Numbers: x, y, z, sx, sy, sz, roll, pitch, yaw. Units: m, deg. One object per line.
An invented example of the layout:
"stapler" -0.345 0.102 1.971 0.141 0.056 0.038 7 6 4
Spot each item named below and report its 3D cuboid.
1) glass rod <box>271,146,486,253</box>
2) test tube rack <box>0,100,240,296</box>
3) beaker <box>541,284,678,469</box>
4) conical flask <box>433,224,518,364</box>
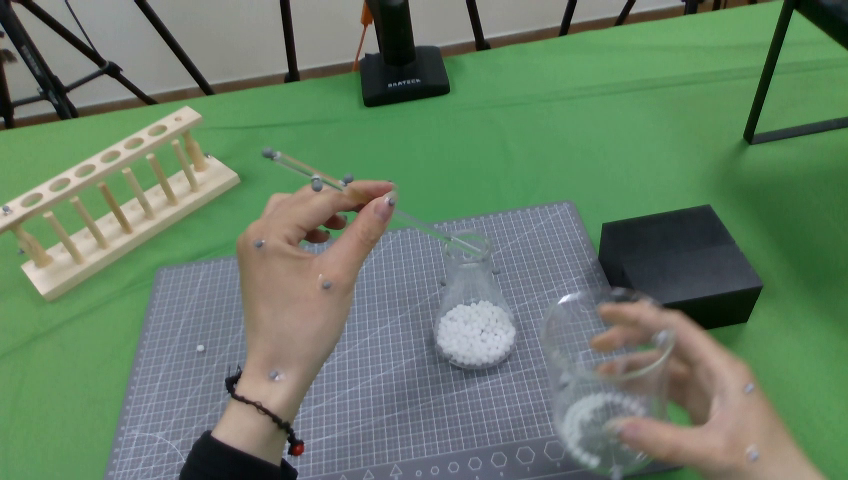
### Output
"glass rod" -0.017 -0.020 0.398 0.008 0.202 0.008 -17 63 37
"test tube rack" -0.336 -0.053 0.673 0.066 0.086 0.242 33 59 33
"beaker" 0.113 0.087 0.382 0.074 0.101 0.083 -28 38 -20
"conical flask" 0.039 0.041 0.498 0.075 0.123 0.074 -4 47 5
